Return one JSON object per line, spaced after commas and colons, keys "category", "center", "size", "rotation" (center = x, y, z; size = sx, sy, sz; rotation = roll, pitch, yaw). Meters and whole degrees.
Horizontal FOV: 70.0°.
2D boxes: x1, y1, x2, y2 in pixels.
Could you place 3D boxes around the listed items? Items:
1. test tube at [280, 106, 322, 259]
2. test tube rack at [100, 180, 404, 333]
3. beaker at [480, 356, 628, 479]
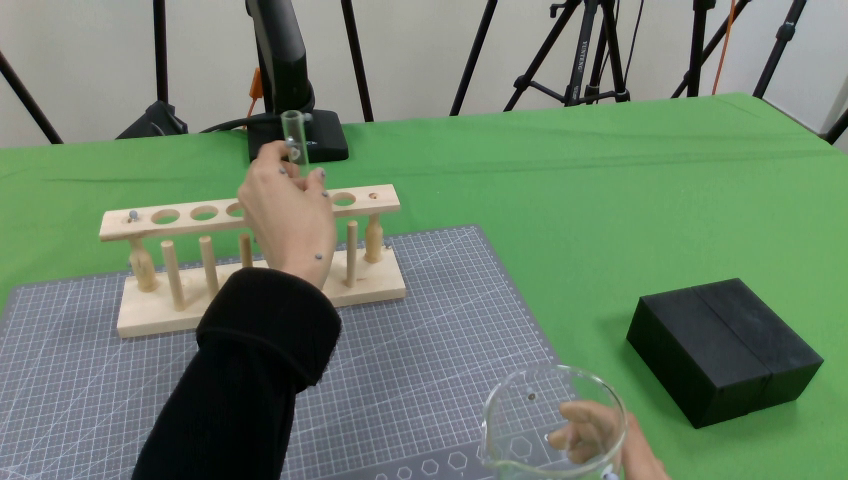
{"category": "test tube", "center": [-0.105, -0.044, 0.524], "size": [0.017, 0.151, 0.017], "rotation": [-1, 37, 1]}
{"category": "test tube rack", "center": [-0.141, 0.012, 0.532], "size": [0.243, 0.086, 0.066], "rotation": [-7, 40, -13]}
{"category": "beaker", "center": [0.071, 0.129, 0.343], "size": [0.084, 0.101, 0.073], "rotation": [-23, 35, -21]}
